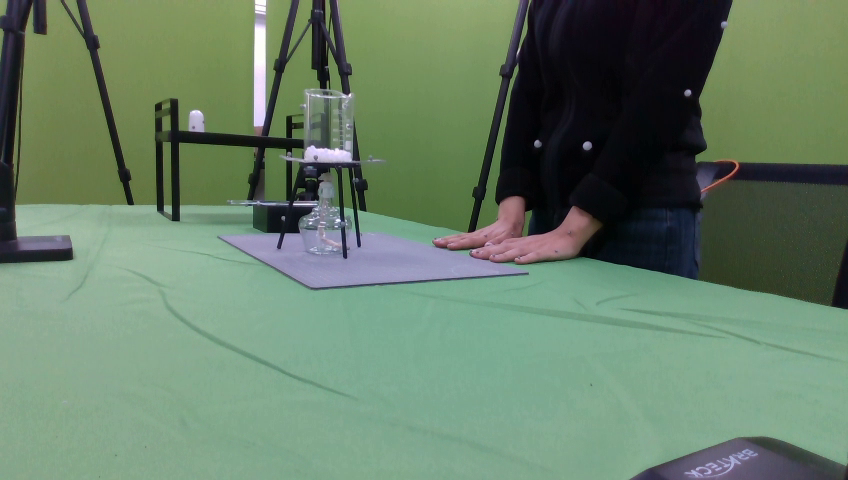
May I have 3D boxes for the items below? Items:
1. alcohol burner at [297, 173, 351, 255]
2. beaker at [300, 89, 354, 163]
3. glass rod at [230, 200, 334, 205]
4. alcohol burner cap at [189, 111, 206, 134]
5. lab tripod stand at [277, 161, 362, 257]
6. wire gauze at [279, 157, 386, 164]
[{"bbox_3d":[-0.144,-0.038,0.879,0.078,0.119,0.078,4,6,0],"label":"alcohol burner"},{"bbox_3d":[-0.137,-0.161,0.869,0.083,0.100,0.074,9,10,42],"label":"beaker"},{"bbox_3d":[-0.265,-0.071,1.144,0.201,0.008,0.008,-1,8,-31],"label":"glass rod"},{"bbox_3d":[-0.469,-0.244,1.252,0.034,0.048,0.034,2,7,0],"label":"alcohol burner cap"},{"bbox_3d":[-0.143,-0.049,0.884,0.148,0.131,0.148,1,9,0],"label":"lab tripod stand"},{"bbox_3d":[-0.134,-0.113,0.875,0.122,0.011,0.124,-1,6,-30],"label":"wire gauze"}]
